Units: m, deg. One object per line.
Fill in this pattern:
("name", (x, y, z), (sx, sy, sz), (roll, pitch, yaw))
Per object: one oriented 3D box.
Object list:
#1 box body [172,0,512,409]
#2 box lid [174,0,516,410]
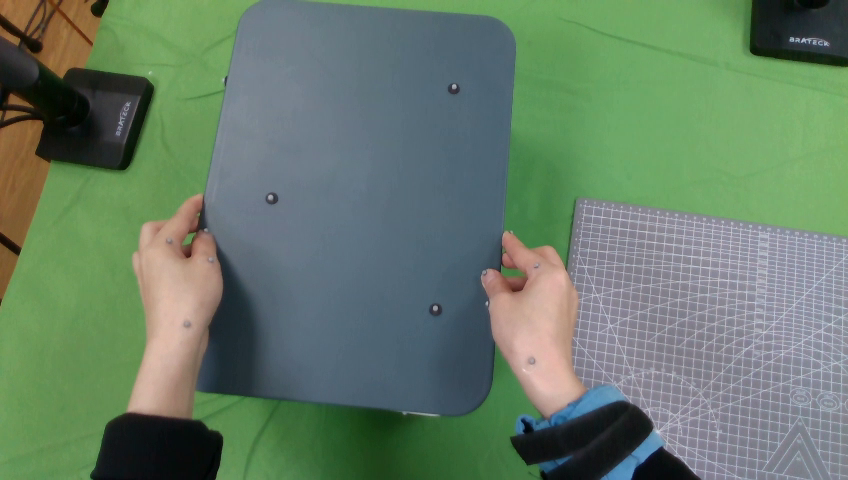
("box body", (-0.061, -0.030, 0.614), (0.254, 0.161, 0.362), (8, 77, 5))
("box lid", (-0.059, -0.051, 0.532), (0.263, 0.015, 0.369), (5, 76, 1))
